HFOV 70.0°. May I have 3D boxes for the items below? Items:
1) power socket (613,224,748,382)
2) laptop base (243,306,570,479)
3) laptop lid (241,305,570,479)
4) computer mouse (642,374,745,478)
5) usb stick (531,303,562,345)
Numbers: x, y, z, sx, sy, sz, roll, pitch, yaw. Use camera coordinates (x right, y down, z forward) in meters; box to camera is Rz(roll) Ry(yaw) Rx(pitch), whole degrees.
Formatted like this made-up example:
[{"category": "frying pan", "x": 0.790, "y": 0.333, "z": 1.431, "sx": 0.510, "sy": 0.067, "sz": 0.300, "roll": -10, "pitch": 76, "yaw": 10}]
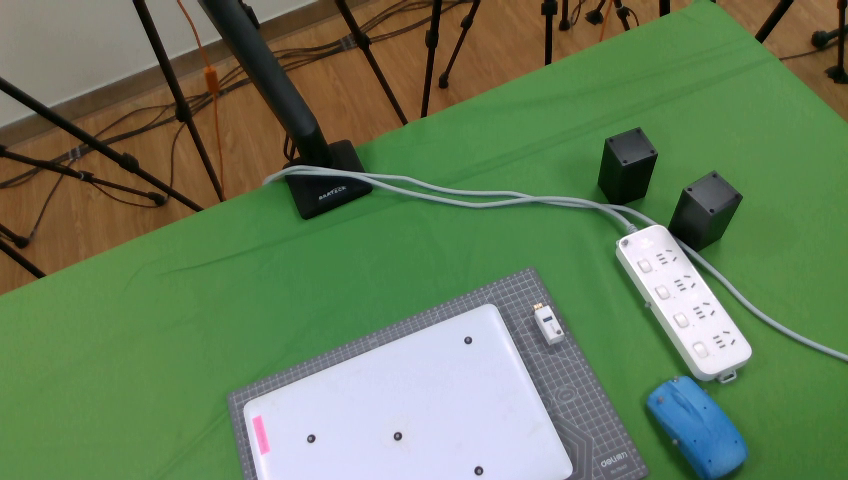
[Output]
[{"category": "power socket", "x": 0.324, "y": 0.074, "z": 0.778, "sx": 0.072, "sy": 0.033, "sz": 0.224, "roll": -22, "pitch": 59, "yaw": -3}, {"category": "laptop base", "x": -0.031, "y": 0.243, "z": 0.743, "sx": 0.354, "sy": 0.023, "sz": 0.233, "roll": -22, "pitch": 62, "yaw": -4}, {"category": "laptop lid", "x": -0.032, "y": 0.239, "z": 0.732, "sx": 0.357, "sy": 0.013, "sz": 0.239, "roll": -21, "pitch": 61, "yaw": -3}, {"category": "computer mouse", "x": 0.310, "y": 0.210, "z": 0.698, "sx": 0.063, "sy": 0.041, "sz": 0.116, "roll": -28, "pitch": 55, "yaw": -5}, {"category": "usb stick", "x": 0.156, "y": 0.105, "z": 0.787, "sx": 0.021, "sy": 0.027, "sz": 0.058, "roll": -24, "pitch": 57, "yaw": -2}]
